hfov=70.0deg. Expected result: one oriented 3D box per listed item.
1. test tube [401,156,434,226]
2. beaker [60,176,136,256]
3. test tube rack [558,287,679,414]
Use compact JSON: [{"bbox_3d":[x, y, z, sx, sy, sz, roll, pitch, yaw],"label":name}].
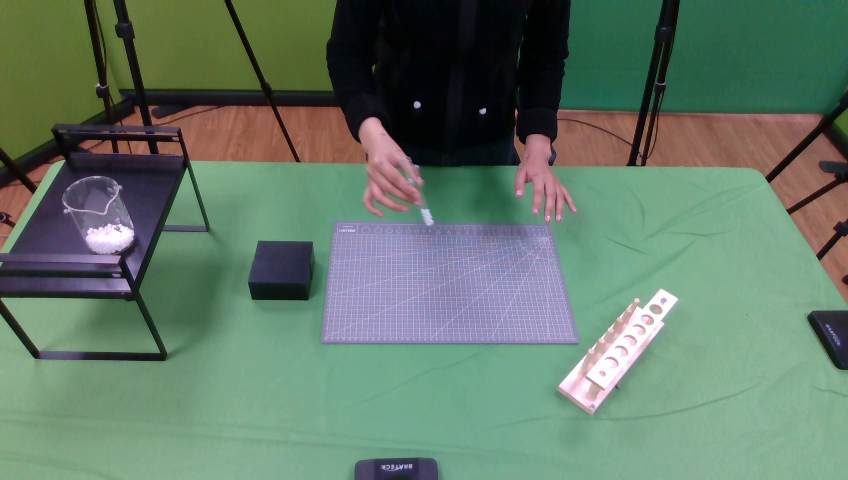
[{"bbox_3d":[-0.008,-0.077,0.990,0.017,0.151,0.017,-11,46,11],"label":"test tube"},{"bbox_3d":[-0.470,-0.031,0.887,0.074,0.101,0.083,-31,56,-29],"label":"beaker"},{"bbox_3d":[0.326,0.170,1.009,0.066,0.085,0.242,35,54,26],"label":"test tube rack"}]
